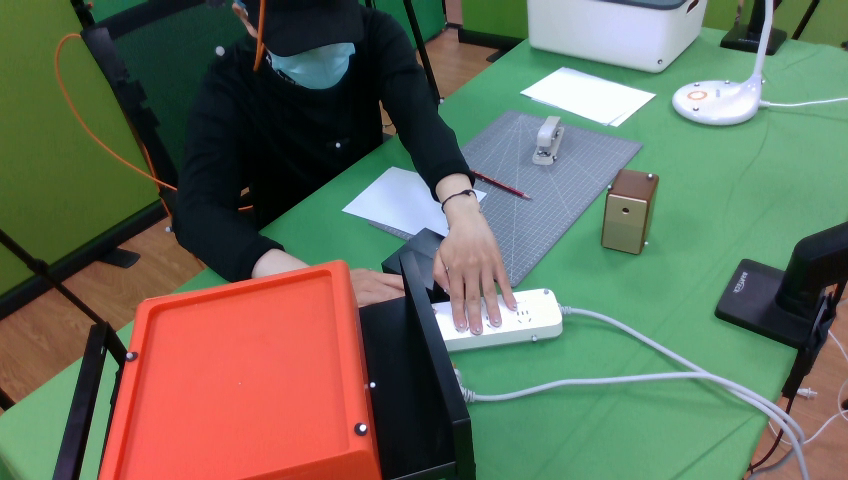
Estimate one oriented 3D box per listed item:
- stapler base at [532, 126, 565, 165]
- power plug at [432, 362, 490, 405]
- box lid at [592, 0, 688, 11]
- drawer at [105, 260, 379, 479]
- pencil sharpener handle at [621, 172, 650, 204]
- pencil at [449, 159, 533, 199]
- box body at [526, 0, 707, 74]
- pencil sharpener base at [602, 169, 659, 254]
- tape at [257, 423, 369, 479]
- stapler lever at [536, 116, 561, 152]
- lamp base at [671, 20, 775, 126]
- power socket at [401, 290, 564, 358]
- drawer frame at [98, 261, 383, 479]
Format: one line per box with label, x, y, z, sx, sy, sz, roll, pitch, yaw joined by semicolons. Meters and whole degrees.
stapler base;0.238;-0.189;1.155;0.041;0.024;0.130;10;42;18
power plug;0.044;0.183;0.760;0.073;0.035;0.052;28;35;-19
box lid;0.441;-0.596;1.383;0.368;0.015;0.264;24;49;31
drawer;-0.150;0.127;0.525;0.195;0.073;0.210;-11;41;-5
pencil sharpener handle;0.328;-0.086;0.941;0.036;0.068;0.030;30;49;8
pencil;0.117;-0.110;1.090;0.192;0.012;0.012;30;53;35
box body;0.450;-0.540;1.430;0.361;0.161;0.255;24;50;31
pencil sharpener base;0.312;-0.044;0.914;0.061;0.107;0.077;14;45;24
tape;-0.121;0.262;0.660;0.117;0.053;0.116;-4;40;4
stapler lever;0.235;-0.209;1.141;0.026;0.040;0.118;10;43;18
lamp base;0.582;-0.332;1.153;0.179;0.181;0.160;2;41;7
power socket;0.079;0.113;0.821;0.227;0.033;0.072;-7;41;-1
drawer frame;-0.148;0.129;0.520;0.202;0.083;0.212;-12;41;-6
